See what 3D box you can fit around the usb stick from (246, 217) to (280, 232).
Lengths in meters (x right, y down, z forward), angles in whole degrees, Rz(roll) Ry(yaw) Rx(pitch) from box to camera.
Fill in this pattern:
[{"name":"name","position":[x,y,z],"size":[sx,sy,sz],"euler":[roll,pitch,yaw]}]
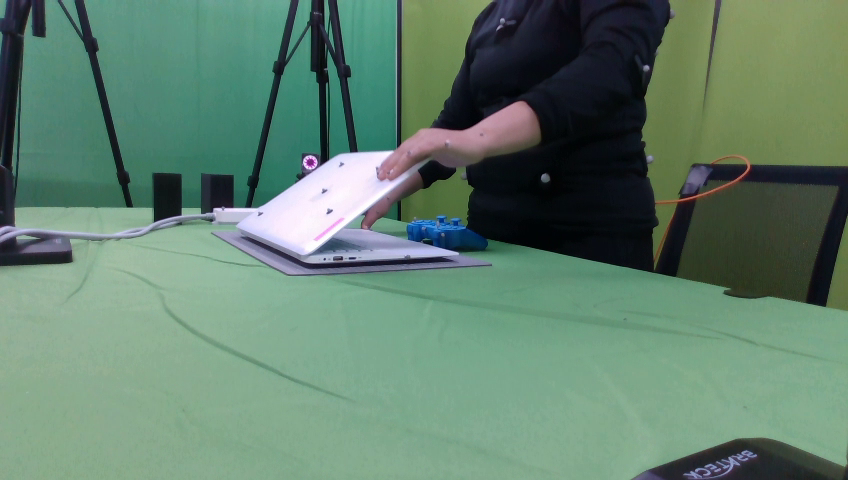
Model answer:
[{"name":"usb stick","position":[-0.297,-0.028,1.114],"size":[0.059,0.027,0.021],"euler":[-2,13,-30]}]

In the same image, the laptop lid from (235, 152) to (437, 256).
[{"name":"laptop lid","position":[-0.153,-0.071,0.928],"size":[0.242,0.013,0.355],"euler":[-39,25,-19]}]

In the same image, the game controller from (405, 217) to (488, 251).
[{"name":"game controller","position":[0.034,-0.013,1.067],"size":[0.097,0.051,0.154],"euler":[-5,10,-29]}]

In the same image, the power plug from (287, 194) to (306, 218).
[{"name":"power plug","position":[-0.283,-0.075,1.342],"size":[0.035,0.052,0.072],"euler":[0,3,-18]}]

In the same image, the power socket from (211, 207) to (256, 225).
[{"name":"power socket","position":[-0.334,-0.051,1.281],"size":[0.228,0.032,0.072],"euler":[-1,9,-29]}]

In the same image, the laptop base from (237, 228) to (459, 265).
[{"name":"laptop base","position":[-0.136,0.006,0.951],"size":[0.237,0.023,0.352],"euler":[2,6,-32]}]
